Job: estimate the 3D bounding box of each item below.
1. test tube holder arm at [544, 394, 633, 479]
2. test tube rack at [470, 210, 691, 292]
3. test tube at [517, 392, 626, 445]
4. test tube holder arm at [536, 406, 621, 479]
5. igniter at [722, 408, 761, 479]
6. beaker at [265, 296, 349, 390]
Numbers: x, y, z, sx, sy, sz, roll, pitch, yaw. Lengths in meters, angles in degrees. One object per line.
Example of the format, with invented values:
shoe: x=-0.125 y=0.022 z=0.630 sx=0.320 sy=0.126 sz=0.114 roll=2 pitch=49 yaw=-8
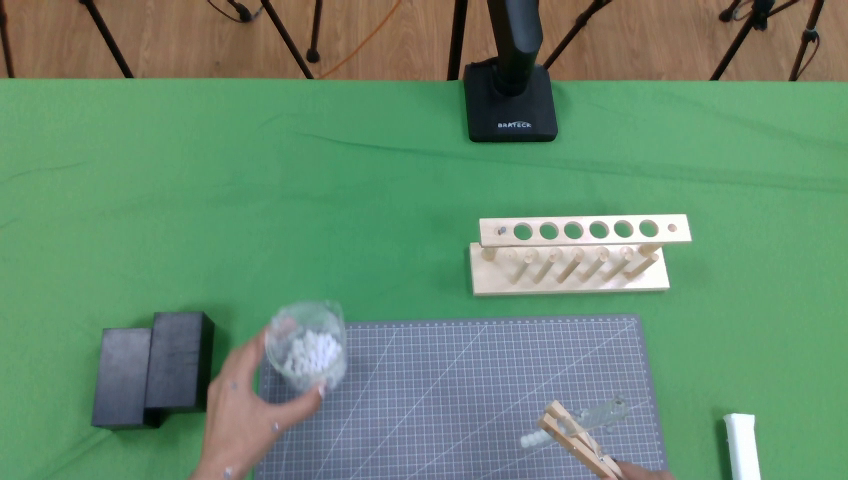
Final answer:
test tube holder arm: x=0.166 y=0.203 z=0.512 sx=0.178 sy=0.015 sz=0.013 roll=48 pitch=54 yaw=5
test tube rack: x=0.182 y=0.014 z=0.719 sx=0.243 sy=0.085 sz=0.066 roll=-1 pitch=68 yaw=-5
test tube: x=0.119 y=0.154 z=0.513 sx=0.017 sy=0.150 sz=0.017 roll=10 pitch=60 yaw=-18
test tube holder arm: x=0.132 y=0.174 z=0.511 sx=0.088 sy=0.015 sz=0.010 roll=41 pitch=53 yaw=0
igniter: x=0.350 y=0.321 z=0.644 sx=0.057 sy=0.025 sz=0.274 roll=8 pitch=68 yaw=-12
beaker: x=-0.111 y=0.105 z=0.607 sx=0.073 sy=0.101 sz=0.084 roll=37 pitch=68 yaw=11
